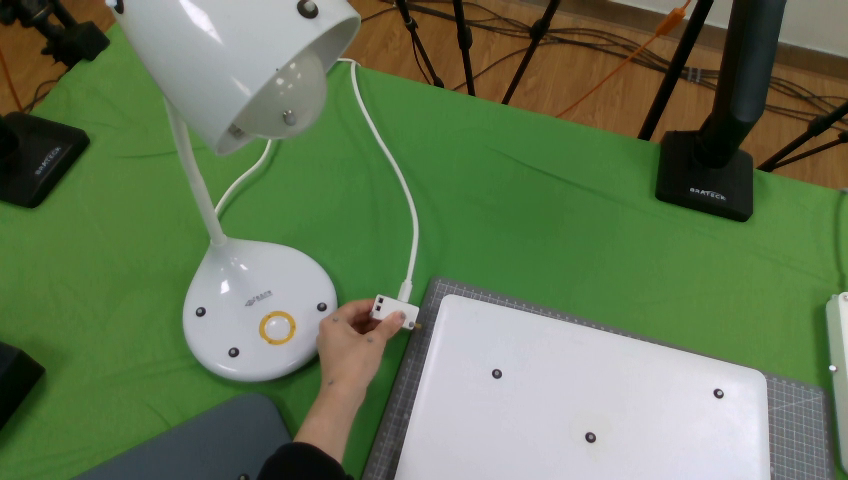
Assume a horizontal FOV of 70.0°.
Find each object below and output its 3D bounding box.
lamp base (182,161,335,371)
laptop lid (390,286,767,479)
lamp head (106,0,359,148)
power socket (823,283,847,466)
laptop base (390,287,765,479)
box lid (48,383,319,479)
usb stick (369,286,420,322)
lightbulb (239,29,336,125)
[{"bbox_3d":[-0.182,0.017,0.592,0.178,0.182,0.160,40,63,22],"label":"lamp base"},{"bbox_3d":[0.161,0.186,0.596,0.356,0.013,0.240,15,61,5],"label":"laptop lid"},{"bbox_3d":[-0.115,-0.127,0.329,0.123,0.112,0.112,43,62,-6],"label":"lamp head"},{"bbox_3d":[0.478,0.145,0.651,0.072,0.033,0.225,15,58,4],"label":"power socket"},{"bbox_3d":[0.160,0.190,0.607,0.354,0.023,0.234,13,62,4],"label":"laptop base"},{"bbox_3d":[-0.181,0.323,0.504,0.263,0.015,0.368,-26,65,-18],"label":"box lid"},{"bbox_3d":[-0.027,0.070,0.645,0.060,0.021,0.027,26,82,-32],"label":"usb stick"},{"bbox_3d":[-0.086,-0.115,0.325,0.059,0.059,0.108,-22,101,-16],"label":"lightbulb"}]
